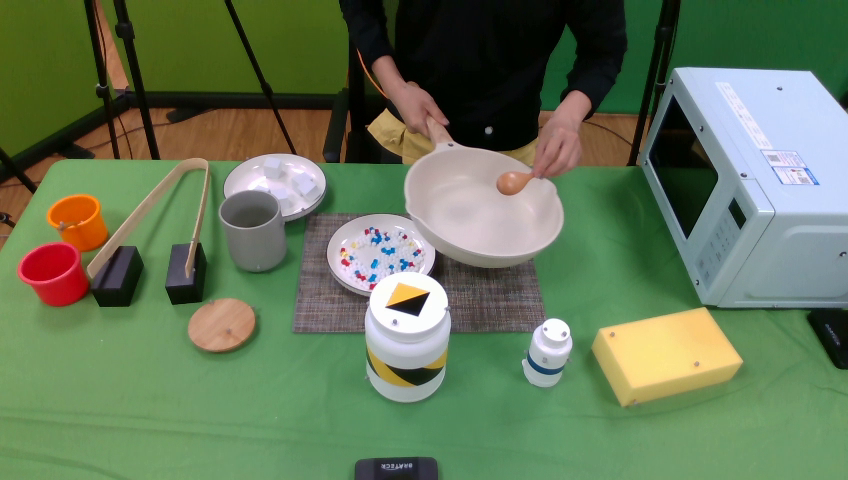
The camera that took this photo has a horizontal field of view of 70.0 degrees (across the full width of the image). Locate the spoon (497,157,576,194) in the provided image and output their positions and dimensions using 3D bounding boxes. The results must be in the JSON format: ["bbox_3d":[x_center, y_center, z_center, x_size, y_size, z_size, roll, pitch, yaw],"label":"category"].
[{"bbox_3d":[0.200,-0.119,1.054,0.194,0.021,0.041,-22,89,-36],"label":"spoon"}]

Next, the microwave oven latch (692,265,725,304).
[{"bbox_3d":[0.522,0.081,1.116,0.030,0.029,0.078,1,46,-2],"label":"microwave oven latch"}]

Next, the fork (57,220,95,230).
[{"bbox_3d":[-0.624,-0.027,1.086,0.028,0.207,0.018,-3,92,-17],"label":"fork"}]

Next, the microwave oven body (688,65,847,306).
[{"bbox_3d":[0.669,-0.111,1.176,0.326,0.261,0.439,0,46,-3],"label":"microwave oven body"}]

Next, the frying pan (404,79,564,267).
[{"bbox_3d":[0.066,-0.142,1.152,0.307,0.103,0.484,-10,58,-23],"label":"frying pan"}]

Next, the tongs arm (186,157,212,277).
[{"bbox_3d":[-0.445,-0.058,1.168,0.051,0.026,0.382,-5,37,-6],"label":"tongs arm"}]

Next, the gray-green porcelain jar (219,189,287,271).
[{"bbox_3d":[-0.310,-0.014,1.113,0.106,0.127,0.105,2,46,-2],"label":"gray-green porcelain jar"}]

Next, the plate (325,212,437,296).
[{"bbox_3d":[-0.080,0.030,1.143,0.209,0.038,0.208,3,46,-3],"label":"plate"}]

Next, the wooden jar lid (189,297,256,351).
[{"bbox_3d":[-0.342,0.145,1.033,0.108,0.021,0.107,2,45,-2],"label":"wooden jar lid"}]

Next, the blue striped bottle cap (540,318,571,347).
[{"bbox_3d":[0.203,0.142,0.933,0.044,0.021,0.044,3,49,-3],"label":"blue striped bottle cap"}]

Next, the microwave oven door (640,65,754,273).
[{"bbox_3d":[0.523,-0.147,1.193,0.039,0.245,0.353,0,47,-3],"label":"microwave oven door"}]

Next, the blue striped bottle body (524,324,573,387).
[{"bbox_3d":[0.200,0.178,0.970,0.063,0.121,0.062,2,46,-2],"label":"blue striped bottle body"}]

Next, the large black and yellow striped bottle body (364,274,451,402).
[{"bbox_3d":[-0.026,0.151,0.937,0.131,0.185,0.130,2,47,-2],"label":"large black and yellow striped bottle body"}]

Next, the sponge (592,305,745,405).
[{"bbox_3d":[0.405,0.190,1.014,0.207,0.061,0.117,-10,48,-13],"label":"sponge"}]

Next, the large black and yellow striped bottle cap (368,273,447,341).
[{"bbox_3d":[-0.023,0.094,0.875,0.115,0.019,0.114,2,45,-2],"label":"large black and yellow striped bottle cap"}]

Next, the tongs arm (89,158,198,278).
[{"bbox_3d":[-0.529,-0.057,1.164,0.028,0.028,0.385,1,36,8],"label":"tongs arm"}]

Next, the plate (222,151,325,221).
[{"bbox_3d":[-0.310,-0.106,1.263,0.208,0.039,0.206,2,47,-2],"label":"plate"}]
